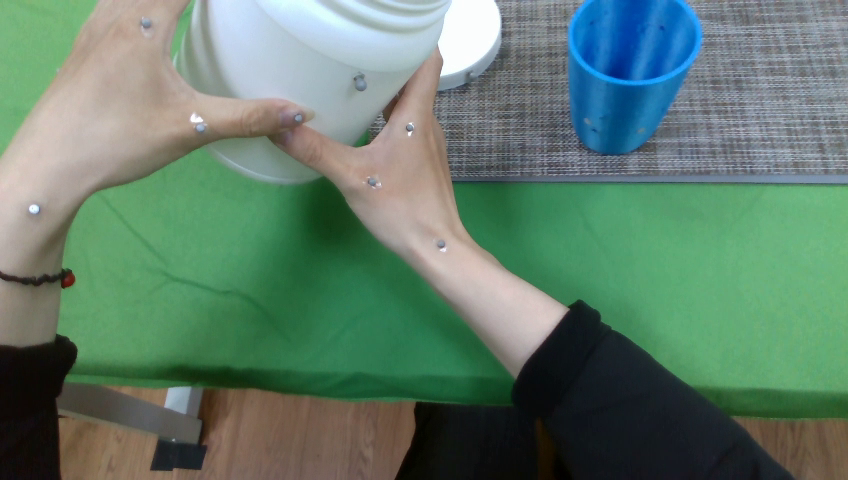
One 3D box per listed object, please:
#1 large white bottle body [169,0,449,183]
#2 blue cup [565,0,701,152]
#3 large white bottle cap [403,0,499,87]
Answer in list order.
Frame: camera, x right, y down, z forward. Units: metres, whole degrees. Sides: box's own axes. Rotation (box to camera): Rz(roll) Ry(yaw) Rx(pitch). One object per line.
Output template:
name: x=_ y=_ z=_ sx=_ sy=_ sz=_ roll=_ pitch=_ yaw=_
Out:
large white bottle body: x=-0.071 y=-0.131 z=0.372 sx=0.131 sy=0.184 sz=0.129 roll=16 pitch=58 yaw=-28
blue cup: x=0.141 y=-0.116 z=0.436 sx=0.092 sy=0.101 sz=0.092 roll=-3 pitch=64 yaw=7
large white bottle cap: x=0.008 y=-0.185 z=0.529 sx=0.115 sy=0.018 sz=0.114 roll=-2 pitch=66 yaw=5
